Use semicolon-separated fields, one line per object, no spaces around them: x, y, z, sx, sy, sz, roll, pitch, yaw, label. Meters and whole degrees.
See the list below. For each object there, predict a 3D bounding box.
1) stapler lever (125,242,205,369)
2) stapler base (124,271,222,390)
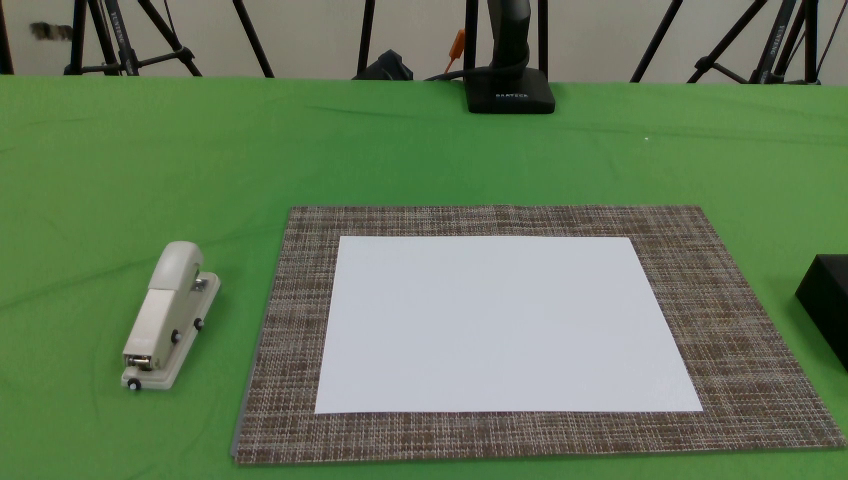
-0.211;0.050;0.498;0.027;0.040;0.117;2;42;4;stapler lever
-0.212;0.068;0.516;0.041;0.024;0.129;2;42;4;stapler base
